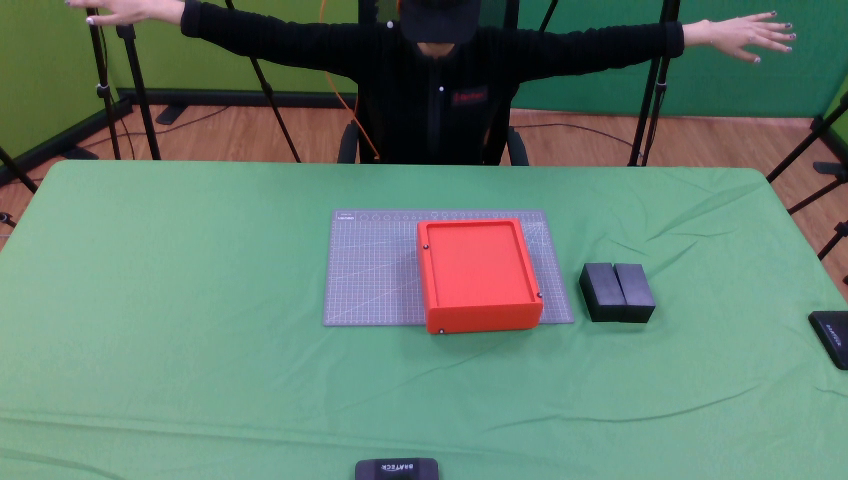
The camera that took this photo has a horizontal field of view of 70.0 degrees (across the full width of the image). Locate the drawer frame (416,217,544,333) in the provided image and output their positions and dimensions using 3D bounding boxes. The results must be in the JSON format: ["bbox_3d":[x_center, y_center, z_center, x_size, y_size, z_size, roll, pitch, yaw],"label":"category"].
[{"bbox_3d":[0.094,0.058,1.104,0.202,0.083,0.212,-2,47,-7],"label":"drawer frame"}]

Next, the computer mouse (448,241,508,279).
[{"bbox_3d":[0.102,0.036,1.130,0.117,0.041,0.062,11,43,-13],"label":"computer mouse"}]

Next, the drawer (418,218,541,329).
[{"bbox_3d":[0.094,0.057,1.107,0.195,0.073,0.210,-1,47,-6],"label":"drawer"}]
